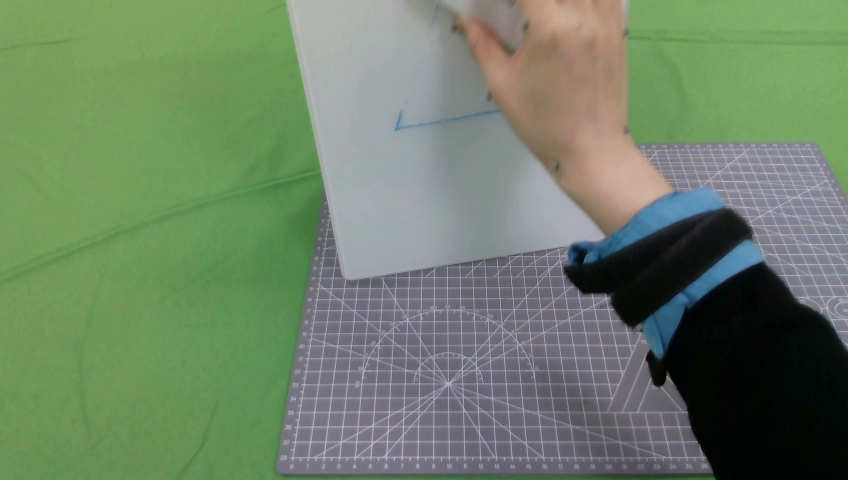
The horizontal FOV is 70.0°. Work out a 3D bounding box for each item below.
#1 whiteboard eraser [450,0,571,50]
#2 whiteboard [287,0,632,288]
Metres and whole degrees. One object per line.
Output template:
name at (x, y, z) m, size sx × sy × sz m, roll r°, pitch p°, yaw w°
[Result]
whiteboard eraser at (0.044, -0.152, 0.364) m, size 0.102 × 0.041 × 0.018 m, roll 24°, pitch 26°, yaw -22°
whiteboard at (0.021, -0.144, 0.454) m, size 0.217 × 0.308 × 0.142 m, roll -9°, pitch 33°, yaw -4°
